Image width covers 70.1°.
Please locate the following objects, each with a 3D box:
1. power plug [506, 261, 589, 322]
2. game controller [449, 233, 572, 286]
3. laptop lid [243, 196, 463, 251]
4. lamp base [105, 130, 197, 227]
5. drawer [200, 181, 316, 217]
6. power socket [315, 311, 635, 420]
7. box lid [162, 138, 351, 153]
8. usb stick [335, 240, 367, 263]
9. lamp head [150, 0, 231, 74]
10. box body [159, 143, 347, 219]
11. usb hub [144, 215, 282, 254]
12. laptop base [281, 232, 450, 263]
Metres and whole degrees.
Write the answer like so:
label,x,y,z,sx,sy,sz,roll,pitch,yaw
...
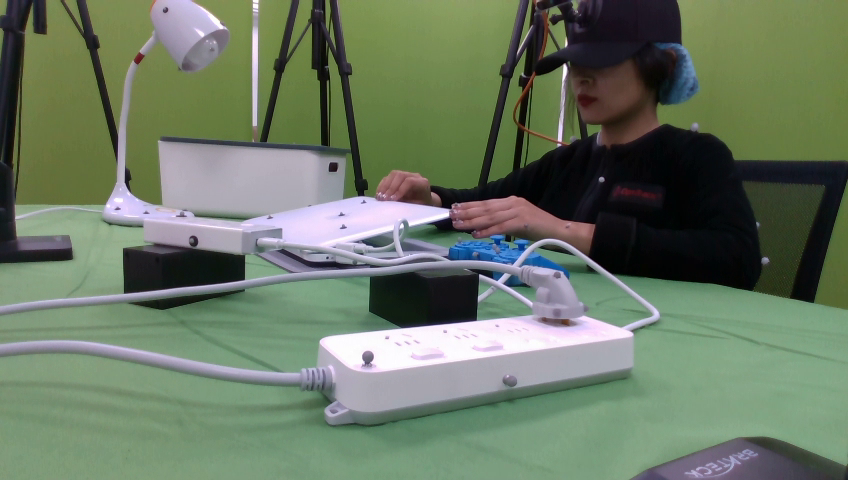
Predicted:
label,x,y,z,sx,sy,sz,roll,pitch,yaw
power plug,0.091,0.043,0.444,0.035,0.052,0.072,-1,5,-18
game controller,0.101,0.021,0.760,0.097,0.051,0.154,-7,10,-30
laptop lid,-0.127,-0.036,0.939,0.243,0.013,0.355,-14,14,-26
lamp base,-0.532,-0.120,1.153,0.179,0.180,0.161,1,7,8
drawer,-0.372,-0.097,1.393,0.212,0.073,0.194,1,9,6
power socket,0.039,0.072,0.385,0.228,0.032,0.072,-2,7,-29
box lid,-0.371,-0.215,1.394,0.371,0.015,0.263,4,8,7
usb stick,-0.094,0.014,0.741,0.021,0.027,0.059,-3,1,-35
lamp head,-0.432,-0.374,1.086,0.123,0.112,0.112,42,8,-2
box body,-0.384,-0.137,1.406,0.364,0.160,0.254,3,8,7
usb hub,-0.200,-0.006,0.573,0.125,0.025,0.050,6,7,23
laptop base,-0.126,0.003,0.946,0.237,0.023,0.352,1,7,-31
